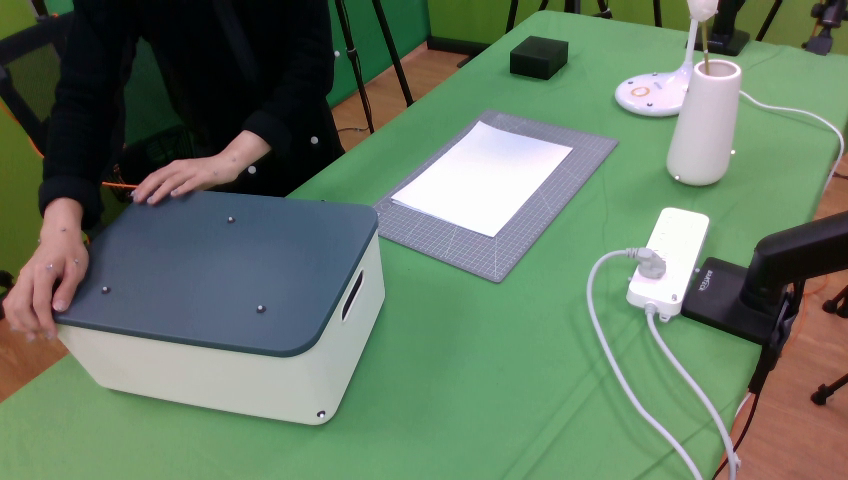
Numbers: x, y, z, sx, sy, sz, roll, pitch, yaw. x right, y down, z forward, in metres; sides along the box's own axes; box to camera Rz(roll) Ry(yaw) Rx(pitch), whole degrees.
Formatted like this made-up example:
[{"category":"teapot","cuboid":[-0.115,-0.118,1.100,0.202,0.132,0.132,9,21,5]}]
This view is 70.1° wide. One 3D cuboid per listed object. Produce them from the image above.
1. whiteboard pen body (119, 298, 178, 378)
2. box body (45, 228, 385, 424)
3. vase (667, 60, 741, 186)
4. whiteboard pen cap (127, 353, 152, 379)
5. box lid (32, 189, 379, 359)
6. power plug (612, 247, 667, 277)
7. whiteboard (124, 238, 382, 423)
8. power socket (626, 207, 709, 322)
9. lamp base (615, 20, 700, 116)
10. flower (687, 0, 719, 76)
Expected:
[{"category":"whiteboard pen body","cuboid":[-0.396,0.139,0.869,0.017,0.017,0.140,6,45,15]},{"category":"box body","cuboid":[-0.254,0.081,0.807,0.363,0.161,0.253,5,42,14]},{"category":"vase","cuboid":[0.463,-0.189,0.994,0.098,0.201,0.097,-4,40,3]},{"category":"whiteboard pen cap","cuboid":[-0.385,0.171,0.820,0.018,0.018,0.033,7,42,16]},{"category":"box lid","cuboid":[-0.260,0.025,0.758,0.370,0.015,0.263,5,41,14]},{"category":"power plug","cuboid":[0.306,0.031,0.852,0.072,0.053,0.035,21,48,38]},{"category":"whiteboard","cuboid":[-0.242,0.094,0.810,0.304,0.144,0.216,4,45,13]},{"category":"power socket","cuboid":[0.360,0.026,0.886,0.072,0.033,0.227,17,46,27]},{"category":"lamp base","cuboid":[0.484,-0.364,1.211,0.180,0.181,0.159,-15,41,-14]},{"category":"flower","cuboid":[0.436,-0.242,0.934,0.038,0.364,0.043,-24,49,9]}]
